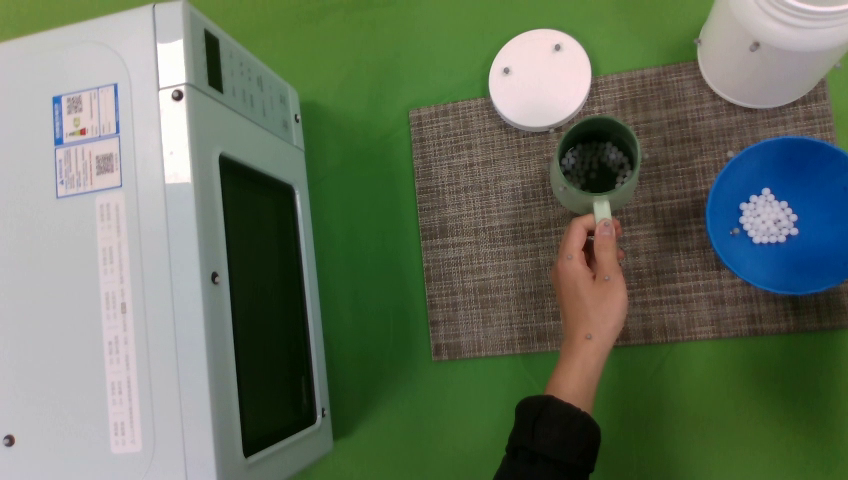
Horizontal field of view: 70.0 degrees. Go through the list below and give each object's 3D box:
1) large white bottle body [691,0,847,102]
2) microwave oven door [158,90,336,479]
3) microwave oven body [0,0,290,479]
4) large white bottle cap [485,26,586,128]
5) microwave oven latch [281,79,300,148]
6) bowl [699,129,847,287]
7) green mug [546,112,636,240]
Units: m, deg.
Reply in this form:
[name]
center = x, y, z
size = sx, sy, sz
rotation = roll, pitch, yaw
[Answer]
[large white bottle body]
center = 0.332, -0.221, 0.562
size = 0.130, 0.185, 0.130
rotation = -2, 81, 13
[microwave oven door]
center = -0.166, 0.058, 0.607
size = 0.039, 0.245, 0.354
rotation = -9, 84, 12
[microwave oven body]
center = -0.312, 0.039, 0.645
size = 0.325, 0.261, 0.440
rotation = -9, 84, 11
[large white bottle cap]
center = 0.126, -0.186, 0.690
size = 0.114, 0.018, 0.114
rotation = -1, 84, 12
[microwave oven latch]
center = -0.170, -0.149, 0.727
size = 0.030, 0.029, 0.079
rotation = -9, 85, 11
[bowl]
center = 0.346, -0.027, 0.599
size = 0.151, 0.077, 0.151
rotation = -1, 85, 13
[green mug]
center = 0.175, -0.063, 0.625
size = 0.092, 0.105, 0.125
rotation = -9, 84, 11
